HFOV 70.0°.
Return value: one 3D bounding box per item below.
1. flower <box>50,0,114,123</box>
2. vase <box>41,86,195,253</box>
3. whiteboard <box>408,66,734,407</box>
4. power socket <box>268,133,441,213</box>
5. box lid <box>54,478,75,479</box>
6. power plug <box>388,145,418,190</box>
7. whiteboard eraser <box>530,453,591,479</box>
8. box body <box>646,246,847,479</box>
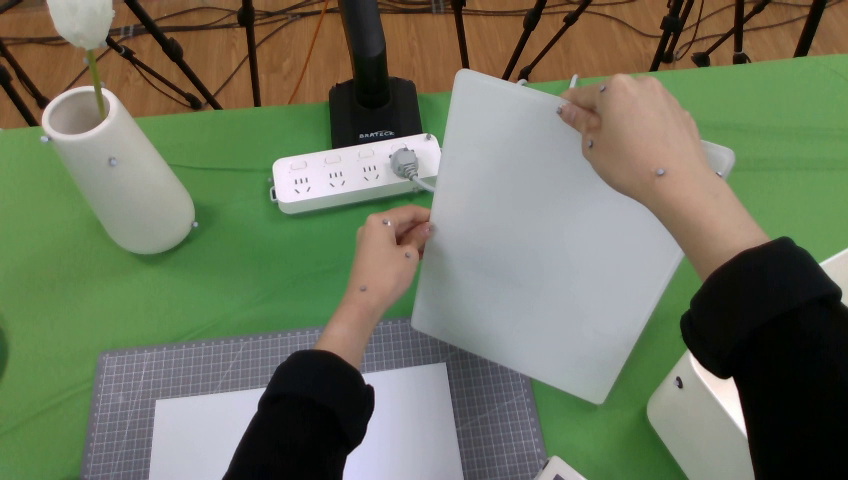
[{"bbox_3d":[-0.300,-0.106,0.574,0.038,0.363,0.044,40,57,3],"label":"flower"},{"bbox_3d":[-0.321,-0.069,0.647,0.098,0.201,0.097,-1,59,1],"label":"vase"},{"bbox_3d":[0.128,-0.019,0.594,0.216,0.308,0.143,21,40,13],"label":"whiteboard"},{"bbox_3d":[-0.082,-0.084,0.755,0.227,0.033,0.071,-10,60,-7],"label":"power socket"},{"bbox_3d":[-0.233,0.375,0.492,0.370,0.015,0.261,16,61,9],"label":"box lid"},{"bbox_3d":[-0.025,-0.081,0.727,0.035,0.053,0.072,-2,65,-1],"label":"power plug"},{"bbox_3d":[0.106,0.253,0.546,0.055,0.042,0.112,34,65,20],"label":"whiteboard eraser"},{"bbox_3d":[0.398,0.209,0.506,0.254,0.162,0.360,-25,62,-14],"label":"box body"}]
